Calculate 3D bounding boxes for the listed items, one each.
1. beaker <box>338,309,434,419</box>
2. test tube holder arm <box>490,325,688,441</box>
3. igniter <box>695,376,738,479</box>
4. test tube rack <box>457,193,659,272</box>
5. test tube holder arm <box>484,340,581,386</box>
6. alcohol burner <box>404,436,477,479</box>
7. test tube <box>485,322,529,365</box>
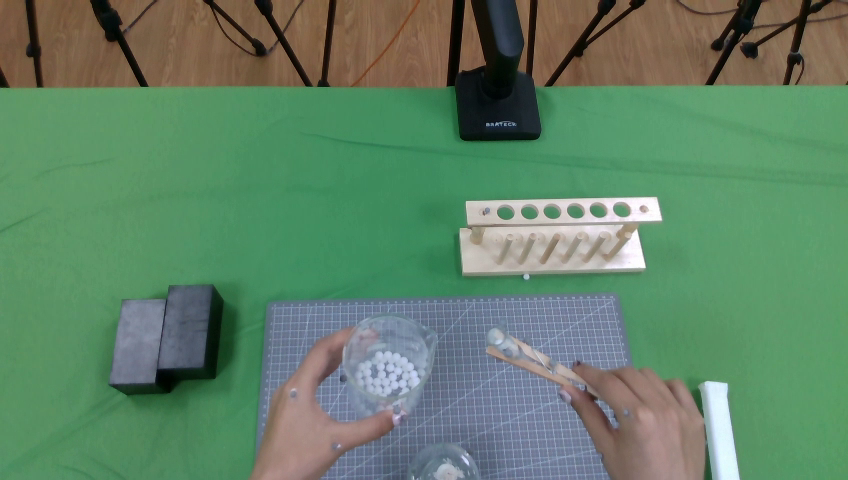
[{"bbox_3d":[-0.033,0.112,0.532,0.084,0.101,0.073,-24,67,-19],"label":"beaker"},{"bbox_3d":[0.136,0.119,0.512,0.177,0.015,0.013,26,86,17],"label":"test tube holder arm"},{"bbox_3d":[0.337,0.290,0.678,0.057,0.025,0.274,9,64,-10],"label":"igniter"},{"bbox_3d":[0.168,-0.009,0.778,0.243,0.086,0.066,-1,64,-4],"label":"test tube rack"},{"bbox_3d":[0.094,0.106,0.524,0.087,0.015,0.010,19,83,16],"label":"test tube holder arm"},{"bbox_3d":[0.019,0.241,0.630,0.078,0.120,0.077,2,62,-3],"label":"alcohol burner"},{"bbox_3d":[0.074,0.093,0.528,0.017,0.151,0.017,-5,70,16],"label":"test tube"}]
